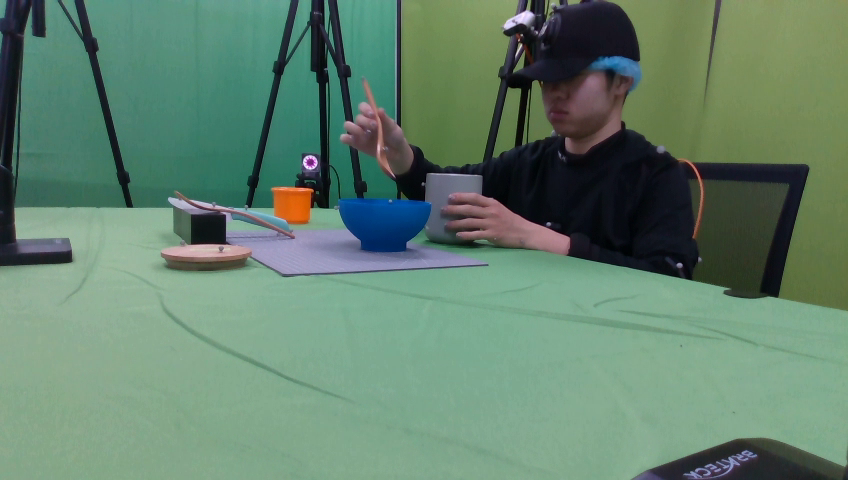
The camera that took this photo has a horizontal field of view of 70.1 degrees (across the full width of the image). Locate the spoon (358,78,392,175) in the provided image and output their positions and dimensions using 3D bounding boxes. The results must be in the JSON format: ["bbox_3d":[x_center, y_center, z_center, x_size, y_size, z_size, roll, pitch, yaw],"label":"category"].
[{"bbox_3d":[-0.086,-0.196,1.038,0.021,0.193,0.042,-19,-18,17],"label":"spoon"}]

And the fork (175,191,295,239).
[{"bbox_3d":[-0.305,-0.039,0.993,0.208,0.018,0.028,19,-9,-34],"label":"fork"}]

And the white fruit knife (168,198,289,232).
[{"bbox_3d":[-0.329,-0.044,1.036,0.208,0.027,0.016,14,-1,-32],"label":"white fruit knife"}]

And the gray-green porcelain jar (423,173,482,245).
[{"bbox_3d":[0.051,-0.059,1.116,0.106,0.126,0.106,2,8,0],"label":"gray-green porcelain jar"}]

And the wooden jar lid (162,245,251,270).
[{"bbox_3d":[-0.278,0.022,0.777,0.108,0.020,0.108,2,6,0],"label":"wooden jar lid"}]

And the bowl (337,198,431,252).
[{"bbox_3d":[-0.066,-0.024,0.967,0.151,0.077,0.151,3,7,0],"label":"bowl"}]
